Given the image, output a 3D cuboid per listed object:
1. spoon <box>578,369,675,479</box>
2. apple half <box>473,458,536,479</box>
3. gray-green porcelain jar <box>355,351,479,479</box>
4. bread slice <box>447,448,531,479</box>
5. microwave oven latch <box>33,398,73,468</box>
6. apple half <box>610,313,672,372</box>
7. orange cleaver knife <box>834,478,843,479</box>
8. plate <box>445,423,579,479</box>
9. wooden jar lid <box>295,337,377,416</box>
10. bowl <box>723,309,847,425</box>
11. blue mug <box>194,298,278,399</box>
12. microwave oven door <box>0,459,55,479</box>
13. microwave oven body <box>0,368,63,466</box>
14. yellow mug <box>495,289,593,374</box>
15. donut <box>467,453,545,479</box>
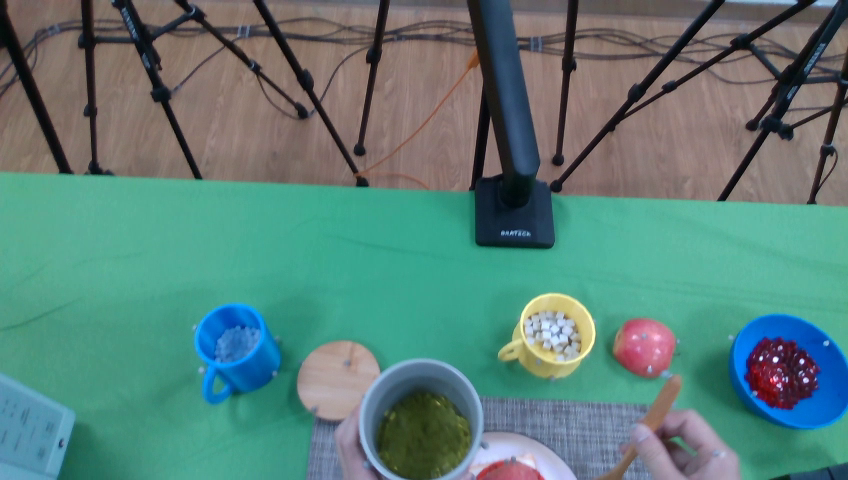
[{"bbox_3d":[0.178,0.191,0.544,0.041,0.195,0.021,28,32,17],"label":"spoon"},{"bbox_3d":[0.093,0.280,0.668,0.081,0.033,0.080,-2,58,4],"label":"apple half"},{"bbox_3d":[-0.004,0.172,0.566,0.106,0.127,0.105,0,64,1],"label":"gray-green porcelain jar"},{"bbox_3d":[0.093,0.325,0.719,0.107,0.018,0.133,-14,63,-8],"label":"bread slice"},{"bbox_3d":[-0.450,0.231,0.727,0.030,0.030,0.078,6,62,1],"label":"microwave oven latch"},{"bbox_3d":[0.298,0.134,0.824,0.074,0.054,0.080,22,63,12],"label":"apple half"},{"bbox_3d":[0.503,0.381,0.682,0.012,0.077,0.210,-5,84,-12],"label":"orange cleaver knife"},{"bbox_3d":[0.089,0.325,0.716,0.208,0.039,0.206,1,62,-2],"label":"plate"},{"bbox_3d":[-0.114,0.180,0.797,0.108,0.021,0.107,1,58,-1],"label":"wooden jar lid"},{"bbox_3d":[0.458,0.173,0.795,0.151,0.077,0.150,1,62,-1],"label":"bowl"},{"bbox_3d":[-0.243,0.145,0.765,0.082,0.106,0.116,21,63,9],"label":"blue mug"},{"bbox_3d":[-0.458,0.374,0.534,0.039,0.245,0.352,3,61,0],"label":"microwave oven door"},{"bbox_3d":[-0.602,0.332,0.556,0.326,0.262,0.438,3,62,-1],"label":"microwave oven body"},{"bbox_3d":[0.155,0.129,0.813,0.131,0.064,0.099,-19,64,-11],"label":"yellow mug"},{"bbox_3d":[0.095,0.297,0.699,0.099,0.048,0.098,1,62,-2],"label":"donut"}]
